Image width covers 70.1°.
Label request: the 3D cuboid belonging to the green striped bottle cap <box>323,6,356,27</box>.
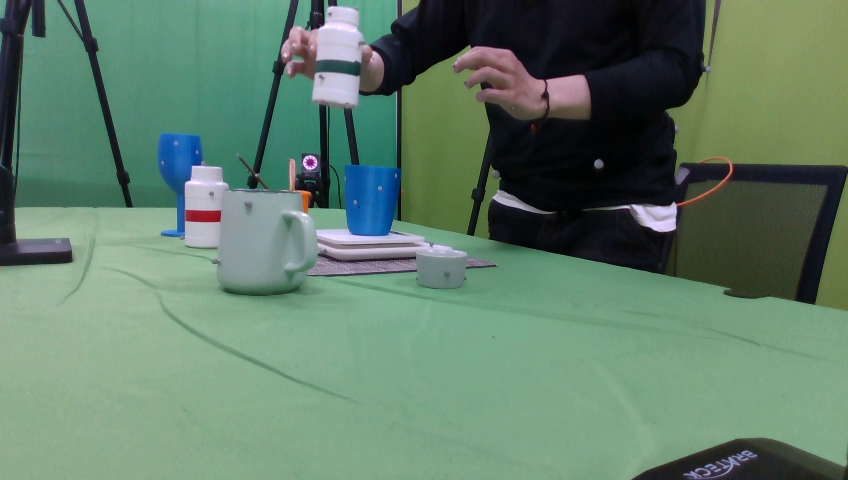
[{"bbox_3d":[-0.115,-0.303,0.821,0.044,0.020,0.044,5,8,0],"label":"green striped bottle cap"}]

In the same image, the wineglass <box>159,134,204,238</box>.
[{"bbox_3d":[-0.415,-0.093,1.039,0.074,0.172,0.073,2,7,0],"label":"wineglass"}]

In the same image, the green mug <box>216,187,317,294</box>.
[{"bbox_3d":[-0.157,0.000,0.629,0.124,0.105,0.093,7,9,37],"label":"green mug"}]

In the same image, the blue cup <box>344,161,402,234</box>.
[{"bbox_3d":[-0.078,-0.062,0.884,0.093,0.100,0.092,4,5,0],"label":"blue cup"}]

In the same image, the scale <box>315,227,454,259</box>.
[{"bbox_3d":[-0.067,0.001,0.906,0.202,0.031,0.148,-2,8,-31],"label":"scale"}]

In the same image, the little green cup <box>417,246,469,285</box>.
[{"bbox_3d":[0.021,0.029,0.701,0.061,0.038,0.061,1,6,0],"label":"little green cup"}]

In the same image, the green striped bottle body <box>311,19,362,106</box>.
[{"bbox_3d":[-0.119,-0.247,0.828,0.063,0.119,0.063,5,6,0],"label":"green striped bottle body"}]

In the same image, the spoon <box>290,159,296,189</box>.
[{"bbox_3d":[-0.273,-0.102,1.252,0.042,0.193,0.021,7,-38,-17],"label":"spoon"}]

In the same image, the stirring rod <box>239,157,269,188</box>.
[{"bbox_3d":[-0.309,-0.098,1.209,0.006,0.177,0.014,-39,29,-4],"label":"stirring rod"}]

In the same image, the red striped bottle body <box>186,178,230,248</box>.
[{"bbox_3d":[-0.331,-0.050,0.927,0.063,0.119,0.063,2,6,0],"label":"red striped bottle body"}]

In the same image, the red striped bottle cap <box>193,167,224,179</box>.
[{"bbox_3d":[-0.329,-0.103,0.921,0.044,0.017,0.044,-1,9,0],"label":"red striped bottle cap"}]
